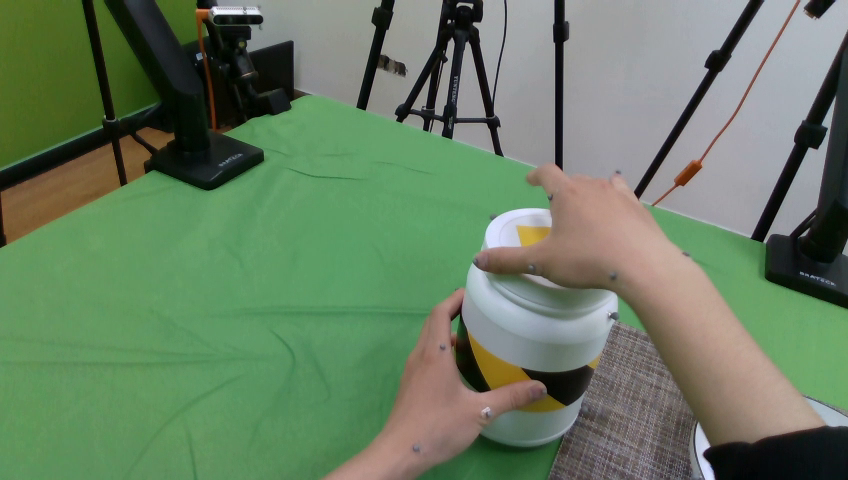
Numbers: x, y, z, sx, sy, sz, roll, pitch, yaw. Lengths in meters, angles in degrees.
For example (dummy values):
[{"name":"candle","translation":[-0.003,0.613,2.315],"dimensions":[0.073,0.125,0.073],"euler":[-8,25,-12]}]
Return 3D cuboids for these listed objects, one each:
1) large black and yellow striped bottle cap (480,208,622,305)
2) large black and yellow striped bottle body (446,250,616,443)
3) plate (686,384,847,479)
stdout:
[{"name":"large black and yellow striped bottle cap","translation":[0.104,0.010,0.498],"dimensions":[0.115,0.019,0.114],"euler":[6,34,-3]},{"name":"large black and yellow striped bottle body","translation":[0.095,0.078,0.548],"dimensions":[0.131,0.185,0.129],"euler":[5,36,-3]},{"name":"plate","translation":[0.329,0.217,0.524],"dimensions":[0.208,0.039,0.205],"euler":[6,36,-4]}]
